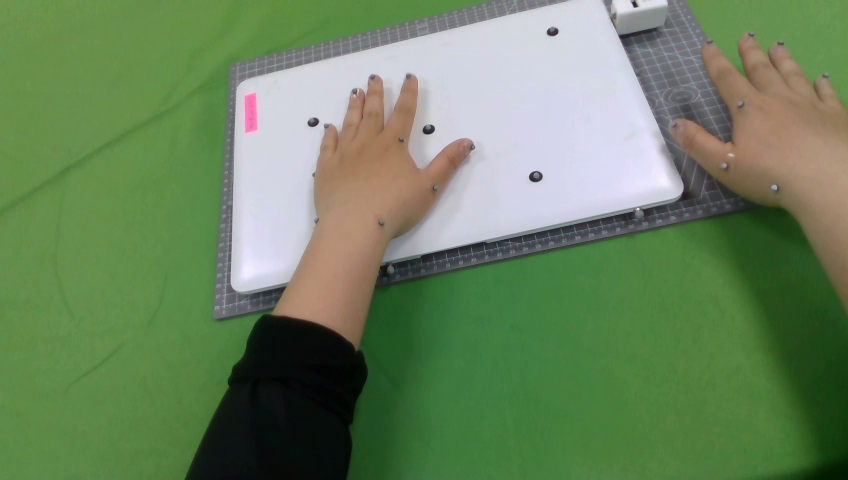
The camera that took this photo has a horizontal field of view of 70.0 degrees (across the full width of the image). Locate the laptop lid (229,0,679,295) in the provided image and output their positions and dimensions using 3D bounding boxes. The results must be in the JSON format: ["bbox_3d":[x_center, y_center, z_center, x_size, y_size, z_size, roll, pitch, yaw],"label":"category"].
[{"bbox_3d":[0.003,-0.092,0.513,0.356,0.013,0.239,-11,60,5],"label":"laptop lid"}]

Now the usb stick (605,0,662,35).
[{"bbox_3d":[0.179,-0.201,0.541,0.059,0.027,0.021,-13,56,7],"label":"usb stick"}]

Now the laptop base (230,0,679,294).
[{"bbox_3d":[0.005,-0.088,0.523,0.354,0.023,0.233,-13,60,4],"label":"laptop base"}]
